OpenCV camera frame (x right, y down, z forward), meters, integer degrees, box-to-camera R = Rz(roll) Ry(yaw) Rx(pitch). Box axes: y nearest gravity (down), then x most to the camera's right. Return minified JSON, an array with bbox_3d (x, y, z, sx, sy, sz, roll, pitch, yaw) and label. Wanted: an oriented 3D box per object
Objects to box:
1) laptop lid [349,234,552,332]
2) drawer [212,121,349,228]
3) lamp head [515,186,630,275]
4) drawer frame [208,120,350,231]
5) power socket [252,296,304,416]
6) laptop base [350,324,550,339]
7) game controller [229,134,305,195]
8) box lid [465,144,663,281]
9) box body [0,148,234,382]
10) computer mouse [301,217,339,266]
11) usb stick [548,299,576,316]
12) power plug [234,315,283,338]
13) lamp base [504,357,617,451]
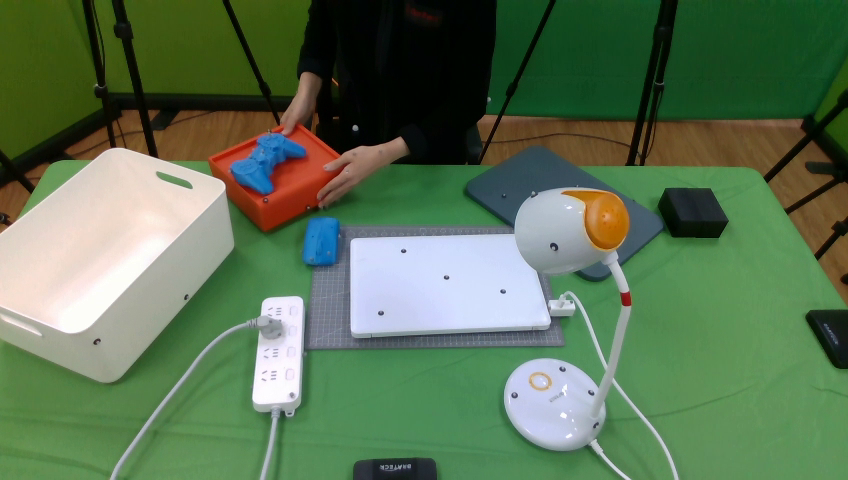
[{"bbox_3d":[0.040,0.071,1.117,0.357,0.013,0.240,0,44,-5],"label":"laptop lid"},{"bbox_3d":[-0.295,-0.140,1.260,0.212,0.073,0.193,-32,56,-28],"label":"drawer"},{"bbox_3d":[0.188,-0.013,0.728,0.112,0.112,0.122,-25,9,-25],"label":"lamp head"},{"bbox_3d":[-0.296,-0.140,1.257,0.213,0.083,0.200,-32,56,-29],"label":"drawer frame"},{"bbox_3d":[-0.238,0.181,0.997,0.072,0.033,0.225,-3,47,-5],"label":"power socket"},{"bbox_3d":[0.039,0.081,1.124,0.355,0.023,0.234,-2,43,-6],"label":"laptop base"},{"bbox_3d":[-0.314,-0.159,1.204,0.097,0.052,0.154,15,46,18],"label":"game controller"},{"bbox_3d":[0.297,-0.072,1.298,0.263,0.015,0.369,-33,56,-31],"label":"box lid"},{"bbox_3d":[-0.525,0.033,1.027,0.254,0.161,0.362,18,47,13],"label":"box body"},{"bbox_3d":[-0.200,-0.002,1.170,0.063,0.041,0.116,3,50,-3],"label":"computer mouse"},{"bbox_3d":[0.239,0.121,1.083,0.059,0.027,0.021,-1,50,-2],"label":"usb stick"},{"bbox_3d":[-0.270,0.143,1.000,0.072,0.053,0.035,5,47,2],"label":"power plug"},{"bbox_3d":[0.220,0.211,0.903,0.160,0.181,0.178,-33,59,-30],"label":"lamp base"}]
